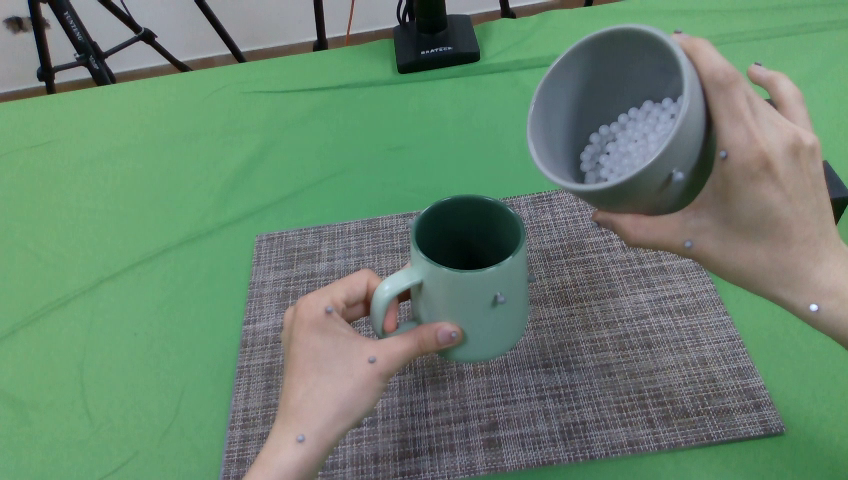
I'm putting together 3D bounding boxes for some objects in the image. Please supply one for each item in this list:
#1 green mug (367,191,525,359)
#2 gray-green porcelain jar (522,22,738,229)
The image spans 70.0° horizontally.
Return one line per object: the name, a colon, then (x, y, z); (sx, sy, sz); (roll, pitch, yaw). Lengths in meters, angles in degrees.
green mug: (0.016, 0.034, 0.446); (0.125, 0.106, 0.091); (-25, 49, -18)
gray-green porcelain jar: (0.143, -0.068, 0.407); (0.105, 0.127, 0.105); (-14, 68, 39)
